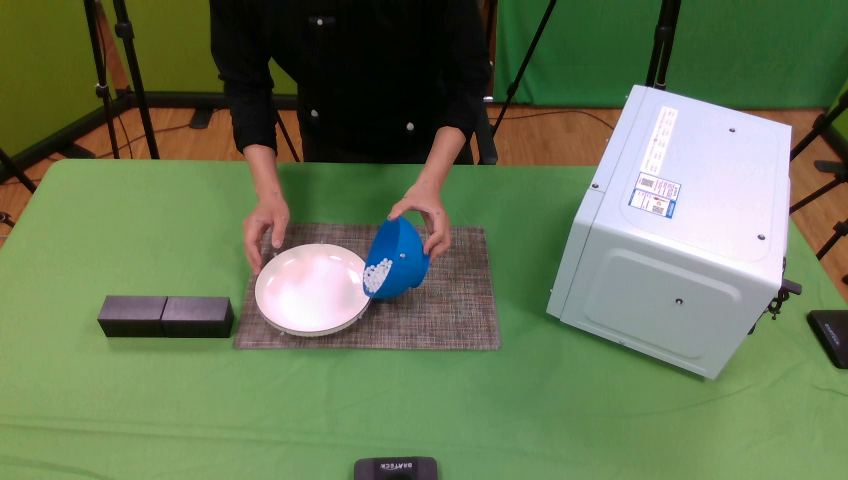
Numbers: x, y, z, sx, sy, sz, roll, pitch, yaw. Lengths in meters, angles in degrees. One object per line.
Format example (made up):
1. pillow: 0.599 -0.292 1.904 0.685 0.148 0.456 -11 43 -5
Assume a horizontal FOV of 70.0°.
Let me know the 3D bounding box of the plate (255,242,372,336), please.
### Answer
1. plate: -0.192 0.090 1.080 0.208 0.039 0.206 2 46 -2

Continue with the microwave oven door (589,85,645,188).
1. microwave oven door: 0.342 -0.107 1.148 0.039 0.245 0.354 20 48 15

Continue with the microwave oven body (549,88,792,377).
1. microwave oven body: 0.456 -0.028 1.088 0.325 0.261 0.440 20 47 16

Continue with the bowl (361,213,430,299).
1. bowl: -0.042 0.037 1.039 0.077 0.151 0.150 20 42 -21

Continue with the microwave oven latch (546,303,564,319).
1. microwave oven latch: 0.242 0.102 1.081 0.030 0.029 0.079 21 48 17
